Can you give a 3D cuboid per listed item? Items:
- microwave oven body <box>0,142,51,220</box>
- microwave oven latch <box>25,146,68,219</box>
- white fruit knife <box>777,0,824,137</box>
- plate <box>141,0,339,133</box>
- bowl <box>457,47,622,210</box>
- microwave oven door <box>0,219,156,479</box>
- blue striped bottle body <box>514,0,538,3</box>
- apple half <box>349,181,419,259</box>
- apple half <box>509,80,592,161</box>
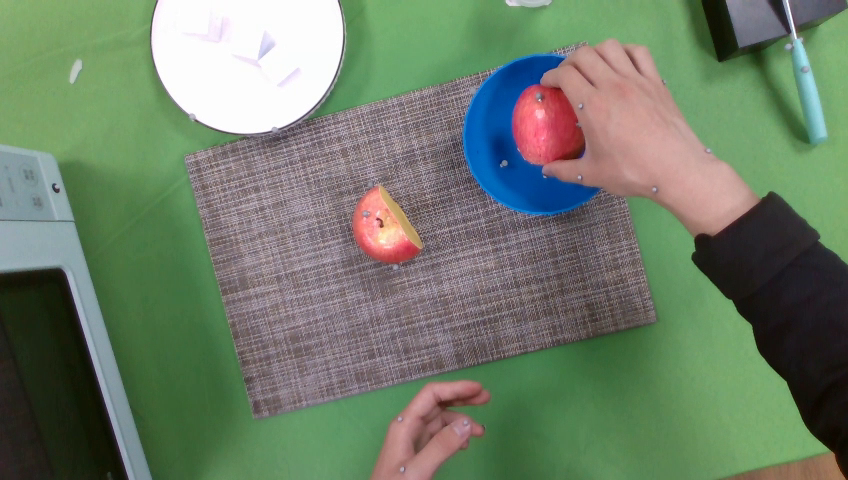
[{"bbox_3d":[-0.510,0.155,0.567,0.326,0.260,0.441,-17,92,4],"label":"microwave oven body"},{"bbox_3d":[-0.410,-0.059,0.647,0.030,0.029,0.079,-17,92,4],"label":"microwave oven latch"},{"bbox_3d":[0.350,-0.191,0.577,0.016,0.027,0.208,-19,108,23],"label":"white fruit knife"},{"bbox_3d":[-0.191,-0.215,0.642,0.207,0.039,0.207,0,93,4],"label":"plate"},{"bbox_3d":[0.110,-0.104,0.599,0.151,0.077,0.151,0,93,5],"label":"bowl"},{"bbox_3d":[-0.358,0.154,0.551,0.039,0.244,0.355,-17,91,5],"label":"microwave oven door"},{"bbox_3d":[0.103,-0.277,0.574,0.063,0.121,0.063,0,92,5],"label":"blue striped bottle body"},{"bbox_3d":[-0.047,-0.014,0.618,0.053,0.074,0.081,-34,93,9],"label":"apple half"},{"bbox_3d":[0.116,-0.108,0.543,0.081,0.033,0.081,0,93,-1],"label":"apple half"}]
